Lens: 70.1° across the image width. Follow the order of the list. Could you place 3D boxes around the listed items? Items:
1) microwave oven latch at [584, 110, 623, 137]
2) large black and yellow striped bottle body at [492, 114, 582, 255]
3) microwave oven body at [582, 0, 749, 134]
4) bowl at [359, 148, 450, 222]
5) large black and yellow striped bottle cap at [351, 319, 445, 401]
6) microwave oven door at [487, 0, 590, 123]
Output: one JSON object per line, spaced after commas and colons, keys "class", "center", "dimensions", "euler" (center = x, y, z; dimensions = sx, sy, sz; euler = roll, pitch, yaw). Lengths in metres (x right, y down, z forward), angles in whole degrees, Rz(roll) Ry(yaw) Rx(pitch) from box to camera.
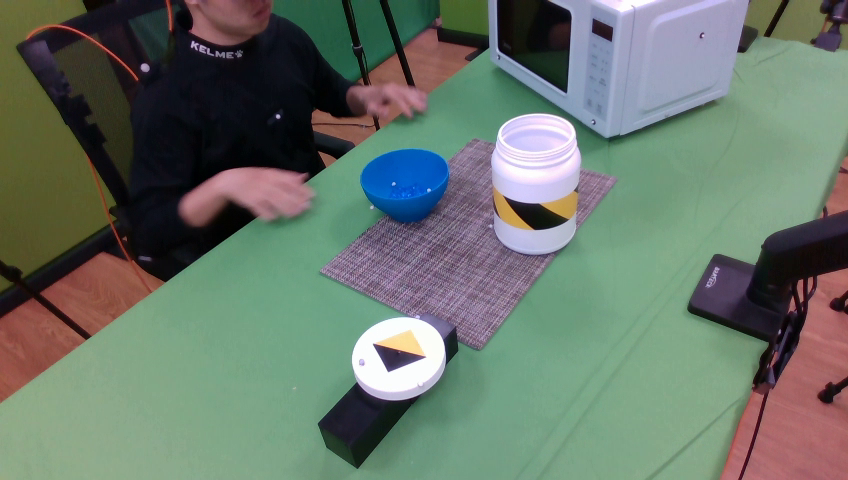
{"class": "microwave oven latch", "center": [0.337, -0.222, 1.142], "dimensions": [0.030, 0.029, 0.078], "euler": [-21, 42, -14]}
{"class": "large black and yellow striped bottle body", "center": [0.169, -0.083, 0.912], "dimensions": [0.131, 0.185, 0.130], "euler": [-4, 41, 4]}
{"class": "microwave oven body", "center": [0.382, -0.444, 1.246], "dimensions": [0.327, 0.261, 0.437], "euler": [-22, 42, -16]}
{"class": "bowl", "center": [-0.029, -0.083, 1.022], "dimensions": [0.151, 0.077, 0.150], "euler": [-4, 40, 4]}
{"class": "large black and yellow striped bottle cap", "center": [-0.031, 0.143, 0.735], "dimensions": [0.115, 0.019, 0.114], "euler": [-3, 40, 3]}
{"class": "microwave oven door", "center": [0.232, -0.420, 1.230], "dimensions": [0.039, 0.245, 0.352], "euler": [-22, 43, -16]}
